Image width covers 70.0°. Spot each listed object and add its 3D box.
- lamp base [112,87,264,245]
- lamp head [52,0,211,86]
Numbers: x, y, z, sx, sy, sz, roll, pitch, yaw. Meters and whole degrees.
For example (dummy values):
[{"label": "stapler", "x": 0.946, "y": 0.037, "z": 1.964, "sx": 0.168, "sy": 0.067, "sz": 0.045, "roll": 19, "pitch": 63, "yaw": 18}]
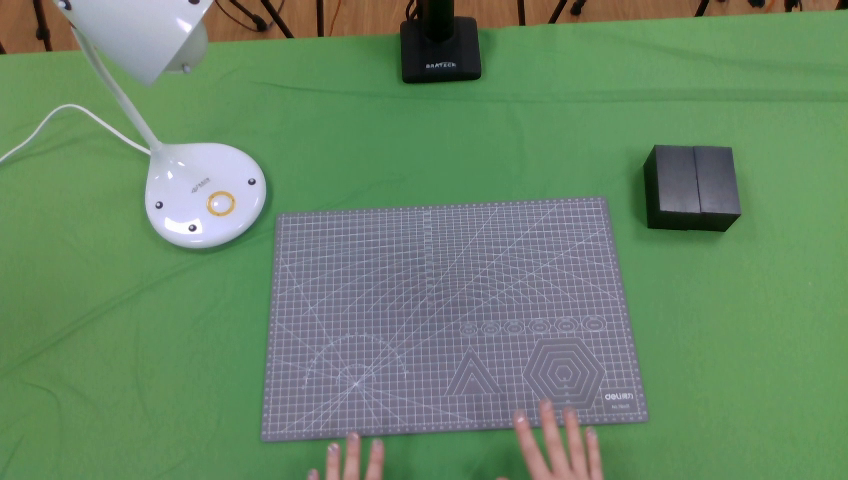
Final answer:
[{"label": "lamp base", "x": -0.312, "y": -0.104, "z": 0.761, "sx": 0.178, "sy": 0.181, "sz": 0.160, "roll": 28, "pitch": 69, "yaw": 17}, {"label": "lamp head", "x": -0.250, "y": -0.206, "z": 0.497, "sx": 0.124, "sy": 0.112, "sz": 0.112, "roll": 33, "pitch": 65, "yaw": -26}]
